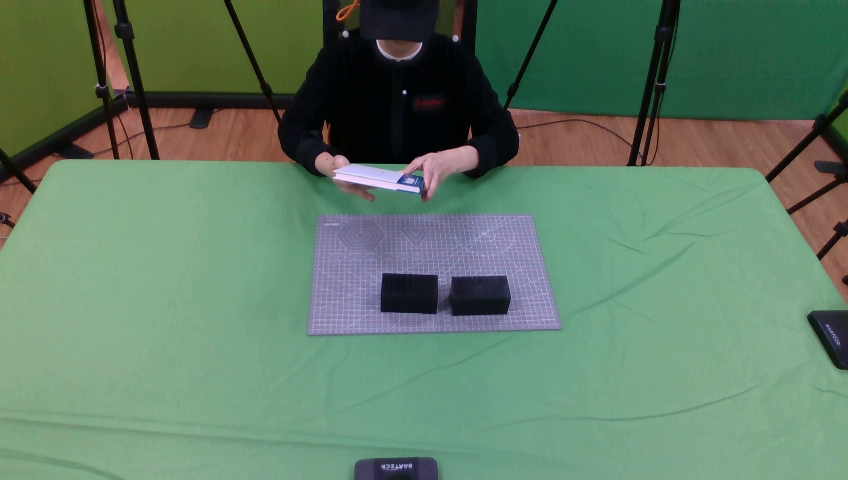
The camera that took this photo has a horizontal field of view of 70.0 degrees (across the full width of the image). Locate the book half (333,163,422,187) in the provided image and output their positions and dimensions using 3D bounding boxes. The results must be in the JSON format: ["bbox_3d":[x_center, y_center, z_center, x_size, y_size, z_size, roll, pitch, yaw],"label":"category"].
[{"bbox_3d":[-0.076,-0.118,1.092,0.143,0.007,0.209,10,11,0],"label":"book half"}]
